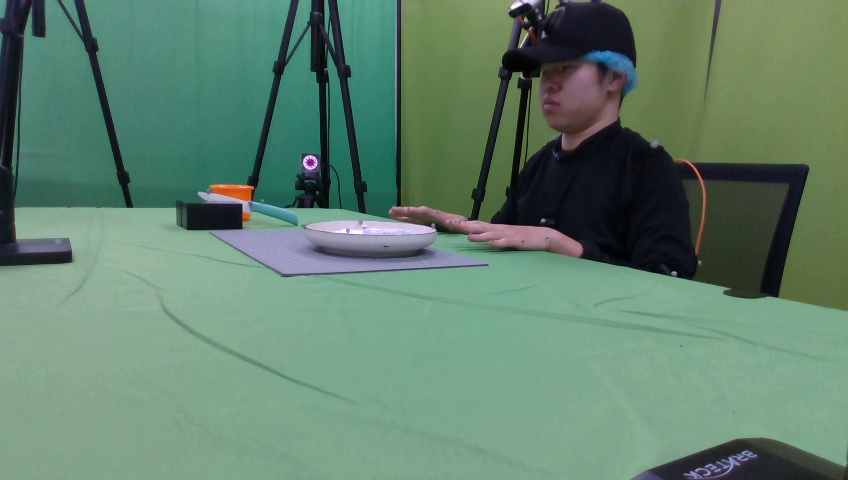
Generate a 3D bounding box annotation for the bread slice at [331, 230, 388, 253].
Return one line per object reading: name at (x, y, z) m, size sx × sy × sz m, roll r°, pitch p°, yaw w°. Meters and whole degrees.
bread slice at (-0.088, 0.000, 0.947) m, size 0.105 × 0.019 × 0.131 m, roll -4°, pitch 11°, yaw -44°

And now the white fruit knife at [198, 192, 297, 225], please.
white fruit knife at (-0.351, -0.068, 1.224) m, size 0.208 × 0.027 × 0.016 m, roll 15°, pitch -1°, yaw -33°

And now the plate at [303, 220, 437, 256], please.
plate at (-0.084, -0.003, 0.951) m, size 0.209 × 0.038 × 0.209 m, roll 3°, pitch 7°, yaw 0°
